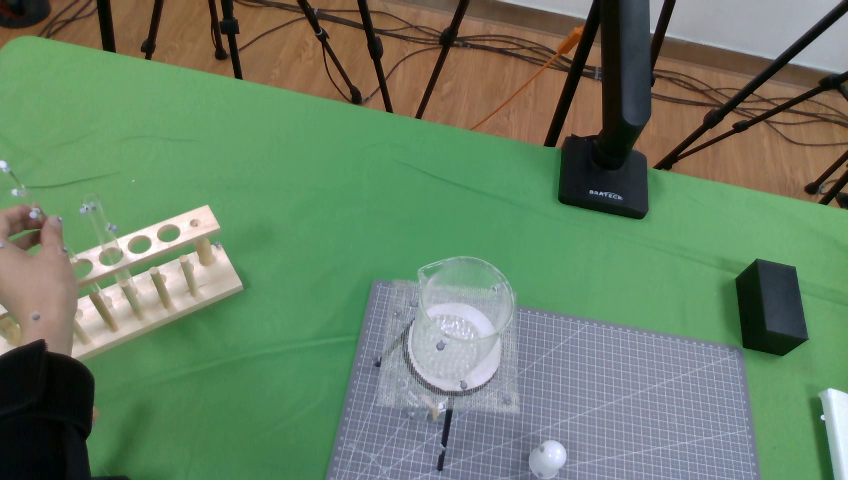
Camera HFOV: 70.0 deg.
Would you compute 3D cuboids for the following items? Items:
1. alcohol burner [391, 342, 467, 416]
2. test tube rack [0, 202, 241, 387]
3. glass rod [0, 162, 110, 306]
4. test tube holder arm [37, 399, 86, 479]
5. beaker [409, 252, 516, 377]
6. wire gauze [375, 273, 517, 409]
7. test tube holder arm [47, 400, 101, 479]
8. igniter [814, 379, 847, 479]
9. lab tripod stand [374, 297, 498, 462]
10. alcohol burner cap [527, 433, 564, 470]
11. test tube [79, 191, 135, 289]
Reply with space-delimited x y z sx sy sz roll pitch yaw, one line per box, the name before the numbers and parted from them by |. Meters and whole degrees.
alcohol burner | 0.007 0.132 0.604 0.078 0.120 0.077 5 56 -7
test tube rack | -0.323 0.053 0.628 0.242 0.086 0.066 -25 64 -22
glass rod | -0.344 0.003 0.573 0.008 0.201 0.008 -2 49 2
test tube holder arm | -0.324 0.220 0.505 0.013 0.015 0.177 12 56 1
beaker | 0.024 0.064 0.501 0.083 0.101 0.074 33 59 13
wire gauze | 0.023 0.089 0.544 0.121 0.011 0.124 6 61 -3
test tube holder arm | -0.310 0.184 0.530 0.010 0.015 0.087 13 56 2
igniter | 0.441 0.278 0.625 0.057 0.025 0.274 19 57 -8
lab tripod stand | 0.018 0.129 0.596 0.149 0.132 0.147 4 58 -7
alcohol burner cap | 0.125 0.212 0.612 0.034 0.048 0.033 2 60 -3
test tube | -0.312 0.006 0.602 0.017 0.151 0.017 5 52 -6
